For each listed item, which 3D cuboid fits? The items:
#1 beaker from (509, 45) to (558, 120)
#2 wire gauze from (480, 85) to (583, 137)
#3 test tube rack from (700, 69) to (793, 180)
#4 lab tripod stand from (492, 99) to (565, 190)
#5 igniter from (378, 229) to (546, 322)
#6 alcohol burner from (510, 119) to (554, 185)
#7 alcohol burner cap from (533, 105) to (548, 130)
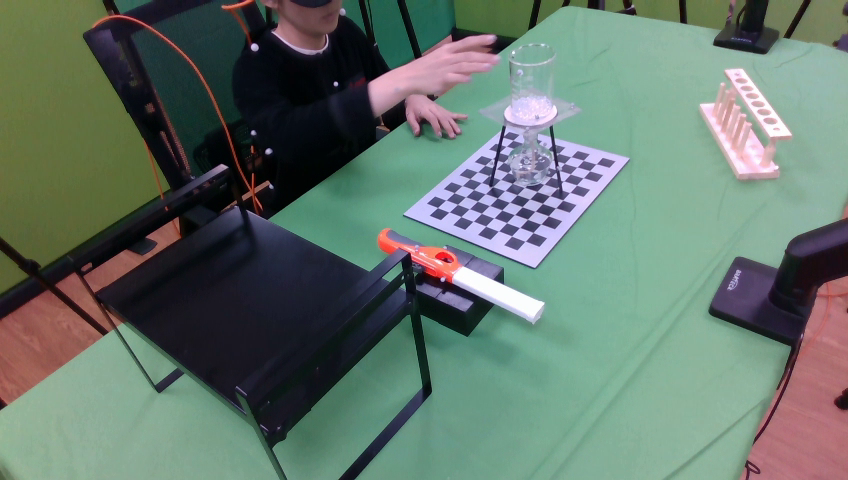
[{"bbox_3d":[0.174,-0.253,0.977,0.074,0.101,0.083,-37,48,-28],"label":"beaker"},{"bbox_3d":[0.177,-0.215,1.007,0.125,0.011,0.120,-31,44,-20],"label":"wire gauze"},{"bbox_3d":[0.571,-0.215,1.089,0.066,0.085,0.241,-3,41,7],"label":"test tube rack"},{"bbox_3d":[0.184,-0.163,1.046,0.148,0.132,0.147,-5,43,5],"label":"lab tripod stand"},{"bbox_3d":[0.041,0.043,0.843,0.274,0.025,0.057,24,47,29],"label":"igniter"},{"bbox_3d":[0.188,-0.157,1.054,0.078,0.119,0.077,-4,39,4],"label":"alcohol burner"},{"bbox_3d":[0.236,-0.251,1.217,0.034,0.048,0.033,-5,41,5],"label":"alcohol burner cap"}]
